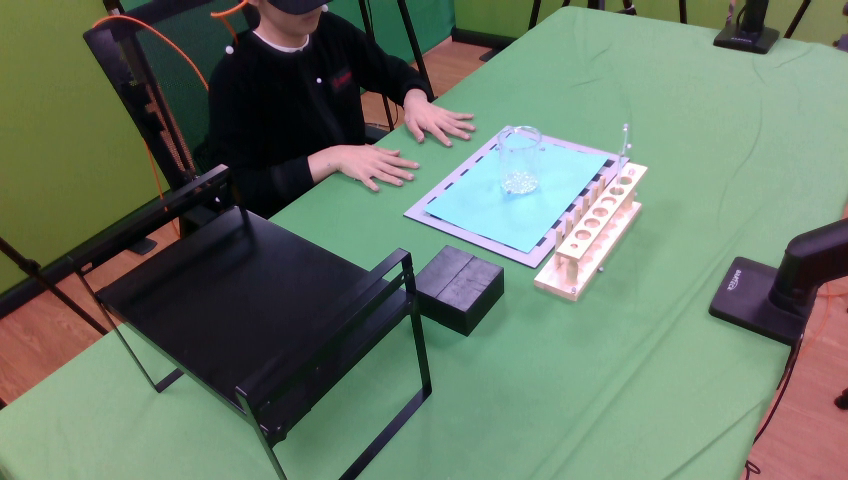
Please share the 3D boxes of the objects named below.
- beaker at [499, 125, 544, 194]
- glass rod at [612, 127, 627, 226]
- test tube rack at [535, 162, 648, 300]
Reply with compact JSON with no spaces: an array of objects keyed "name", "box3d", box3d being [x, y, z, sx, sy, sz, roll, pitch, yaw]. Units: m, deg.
[{"name":"beaker","box3d":[0.168,-0.138,1.046,0.074,0.101,0.083,-8,40,0]},{"name":"glass rod","box3d":[0.285,-0.086,0.883,0.008,0.201,0.008,-6,50,7]},{"name":"test tube rack","box3d":[0.257,-0.024,0.916,0.066,0.085,0.243,22,49,30]}]
